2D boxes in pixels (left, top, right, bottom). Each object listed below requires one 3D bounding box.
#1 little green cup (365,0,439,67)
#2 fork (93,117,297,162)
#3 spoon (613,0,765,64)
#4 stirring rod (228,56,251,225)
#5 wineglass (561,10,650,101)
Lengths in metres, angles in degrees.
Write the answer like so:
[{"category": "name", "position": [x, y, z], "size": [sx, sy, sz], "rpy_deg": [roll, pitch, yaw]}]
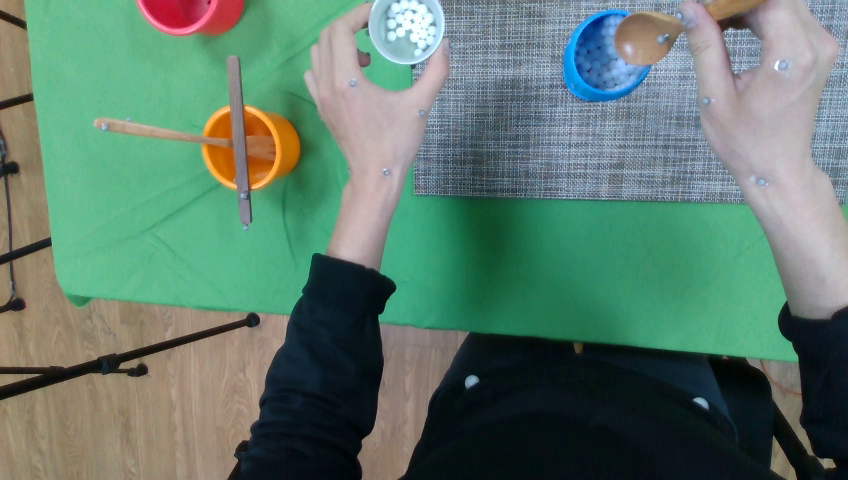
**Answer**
[{"category": "little green cup", "position": [-0.017, -0.177, 0.512], "size": [0.061, 0.038, 0.062], "rpy_deg": [1, 106, 4]}, {"category": "fork", "position": [-0.237, -0.108, 0.651], "size": [0.209, 0.018, 0.028], "rpy_deg": [4, 115, -35]}, {"category": "spoon", "position": [0.172, -0.141, 0.381], "size": [0.021, 0.193, 0.042], "rpy_deg": [-34, 101, -2]}, {"category": "stirring rod", "position": [-0.195, -0.103, 0.642], "size": [0.014, 0.006, 0.176], "rpy_deg": [2, 102, 10]}, {"category": "wineglass", "position": [0.159, -0.162, 0.549], "size": [0.073, 0.172, 0.074], "rpy_deg": [2, 102, 10]}]
